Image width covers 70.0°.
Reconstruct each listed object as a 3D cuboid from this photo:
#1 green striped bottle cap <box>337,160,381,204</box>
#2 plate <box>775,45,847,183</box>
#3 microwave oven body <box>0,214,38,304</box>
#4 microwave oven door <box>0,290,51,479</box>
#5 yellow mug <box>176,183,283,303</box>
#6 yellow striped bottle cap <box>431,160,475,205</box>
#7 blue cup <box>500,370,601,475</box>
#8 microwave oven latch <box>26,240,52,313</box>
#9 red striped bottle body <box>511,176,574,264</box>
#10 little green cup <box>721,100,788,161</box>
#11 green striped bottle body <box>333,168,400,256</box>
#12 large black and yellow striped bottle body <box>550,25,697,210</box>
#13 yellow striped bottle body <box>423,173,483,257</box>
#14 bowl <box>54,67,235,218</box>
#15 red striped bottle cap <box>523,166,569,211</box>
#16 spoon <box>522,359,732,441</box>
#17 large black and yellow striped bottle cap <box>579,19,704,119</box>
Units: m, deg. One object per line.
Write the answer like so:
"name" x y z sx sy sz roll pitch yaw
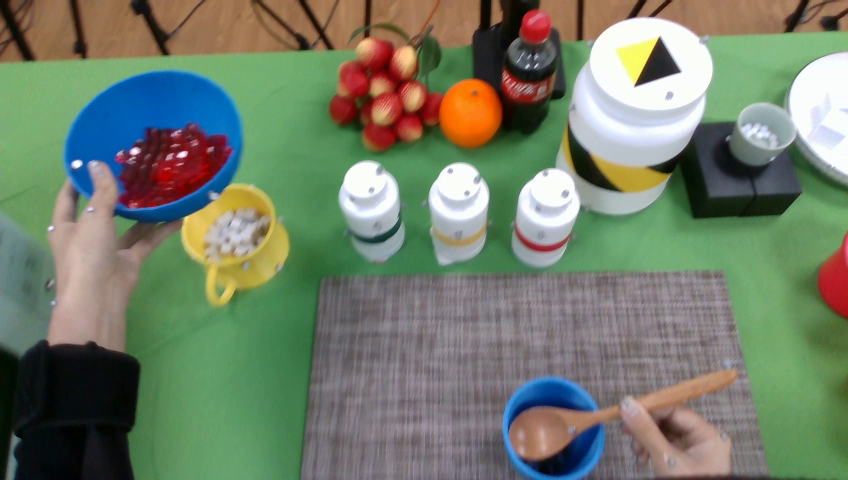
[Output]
"green striped bottle cap" -0.066 -0.059 0.613 0.044 0.020 0.044 -1 62 1
"plate" 0.531 -0.147 0.735 0.209 0.038 0.207 -1 64 2
"microwave oven body" -0.550 0.178 0.492 0.326 0.262 0.437 -10 64 -3
"microwave oven door" -0.398 0.188 0.475 0.039 0.246 0.352 -10 63 -1
"yellow mug" -0.220 0.008 0.676 0.100 0.064 0.130 8 65 6
"yellow striped bottle cap" 0.029 -0.058 0.609 0.044 0.019 0.044 -1 65 2
"blue cup" 0.107 0.174 0.553 0.092 0.101 0.092 0 63 1
"microwave oven latch" -0.430 0.042 0.662 0.030 0.030 0.078 -8 64 -2
"red striped bottle body" 0.125 -0.027 0.647 0.063 0.121 0.062 -3 61 6
"little green cup" 0.363 -0.119 0.672 0.061 0.039 0.061 0 62 1
"green striped bottle body" -0.062 -0.035 0.660 0.063 0.120 0.062 -1 63 3
"large black and yellow striped bottle body" 0.213 -0.130 0.659 0.131 0.185 0.129 -1 63 3
"yellow striped bottle body" 0.032 -0.034 0.654 0.063 0.121 0.062 -2 63 3
"bowl" -0.244 -0.076 0.562 0.151 0.077 0.150 1 64 -2
"red striped bottle cap" 0.121 -0.051 0.600 0.044 0.018 0.044 1 62 -1
"spoon" 0.154 0.135 0.500 0.193 0.022 0.041 -26 75 27
"large black and yellow striped bottle cap" 0.208 -0.167 0.583 0.115 0.019 0.114 -1 62 3
